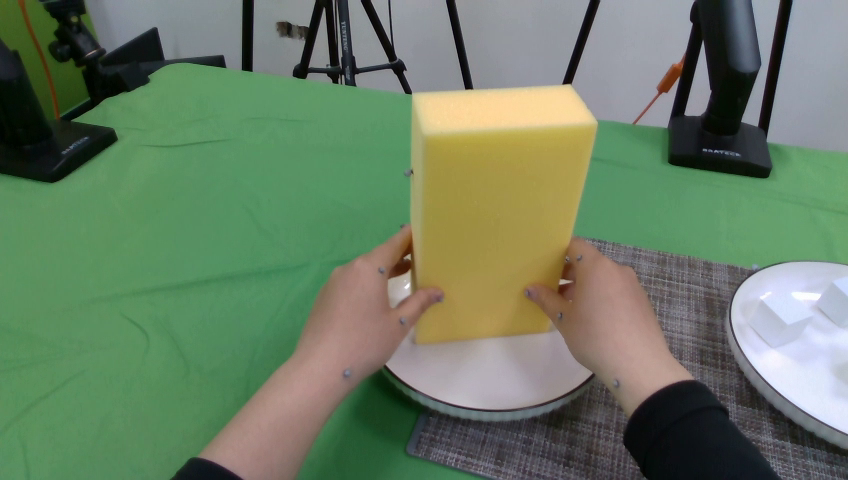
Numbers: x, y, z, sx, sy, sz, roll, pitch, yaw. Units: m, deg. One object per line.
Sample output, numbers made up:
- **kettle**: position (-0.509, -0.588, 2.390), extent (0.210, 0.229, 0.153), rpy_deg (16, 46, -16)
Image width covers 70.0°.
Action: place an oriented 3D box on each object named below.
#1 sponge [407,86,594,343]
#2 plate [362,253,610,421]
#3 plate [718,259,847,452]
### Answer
- **sponge**: position (0.048, -0.012, 0.478), extent (0.118, 0.208, 0.060), rpy_deg (-4, 41, -8)
- **plate**: position (0.052, 0.073, 0.524), extent (0.209, 0.038, 0.207), rpy_deg (0, 38, 0)
- **plate**: position (0.347, 0.096, 0.494), extent (0.208, 0.039, 0.205), rpy_deg (0, 39, 0)
